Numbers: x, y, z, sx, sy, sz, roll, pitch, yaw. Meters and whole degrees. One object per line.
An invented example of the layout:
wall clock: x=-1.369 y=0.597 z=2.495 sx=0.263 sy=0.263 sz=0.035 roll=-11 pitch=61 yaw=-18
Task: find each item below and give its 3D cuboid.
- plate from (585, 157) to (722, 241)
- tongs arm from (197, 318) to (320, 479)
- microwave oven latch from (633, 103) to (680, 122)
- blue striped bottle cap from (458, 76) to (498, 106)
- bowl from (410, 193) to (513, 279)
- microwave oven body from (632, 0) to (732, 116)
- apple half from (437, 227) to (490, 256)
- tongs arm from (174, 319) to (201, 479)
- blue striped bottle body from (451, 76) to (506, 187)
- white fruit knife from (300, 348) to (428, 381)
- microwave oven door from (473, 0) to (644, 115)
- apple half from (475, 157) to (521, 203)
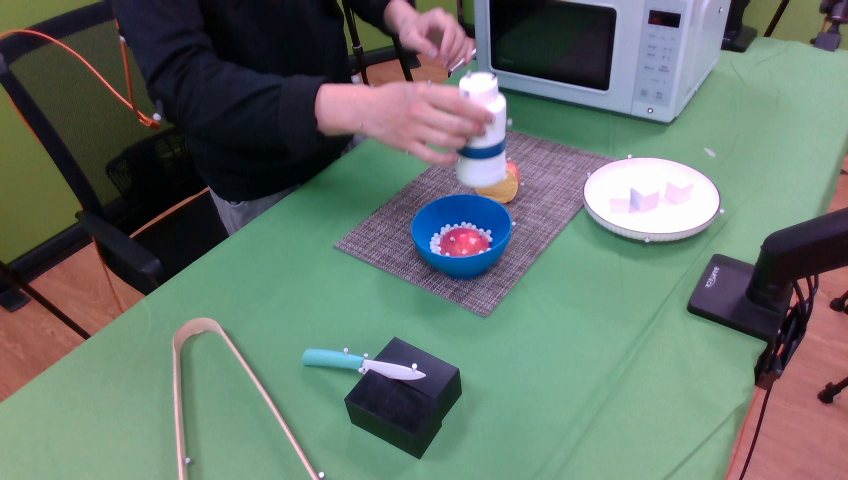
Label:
plate: x=0.367 y=-0.063 z=0.979 sx=0.207 sy=0.039 sz=0.206 roll=-4 pitch=40 yaw=4
tongs arm: x=-0.199 y=0.207 z=0.751 sx=0.028 sy=0.028 sz=0.384 roll=-31 pitch=45 yaw=-22
microwave oven latch: x=0.444 y=-0.249 z=1.158 sx=0.078 sy=0.029 sz=0.030 roll=21 pitch=49 yaw=30
blue striped bottle cap: x=0.061 y=-0.168 z=0.679 sx=0.044 sy=0.021 sz=0.044 roll=-4 pitch=34 yaw=4
bowl: x=0.058 y=0.005 z=0.905 sx=0.151 sy=0.077 sz=0.150 roll=-4 pitch=40 yaw=3
microwave oven body: x=0.377 y=-0.463 z=1.267 sx=0.438 sy=0.261 sz=0.327 roll=21 pitch=49 yaw=30
apple half: x=0.056 y=0.002 z=0.902 sx=0.081 sy=0.033 sz=0.081 roll=-3 pitch=41 yaw=3
tongs arm: x=-0.272 y=0.234 z=0.723 sx=0.051 sy=0.026 sz=0.381 roll=-19 pitch=40 yaw=-15
blue striped bottle body: x=0.065 y=-0.128 z=0.711 sx=0.063 sy=0.121 sz=0.063 roll=-4 pitch=38 yaw=3
white fruit knife: x=-0.080 y=0.154 z=0.748 sx=0.206 sy=0.027 sz=0.016 roll=1 pitch=20 yaw=34
microwave oven door: x=0.257 y=-0.396 z=1.199 sx=0.353 sy=0.245 sz=0.039 roll=21 pitch=48 yaw=29
apple half: x=0.128 y=-0.107 z=1.030 sx=0.080 sy=0.075 sz=0.053 roll=5 pitch=38 yaw=19
